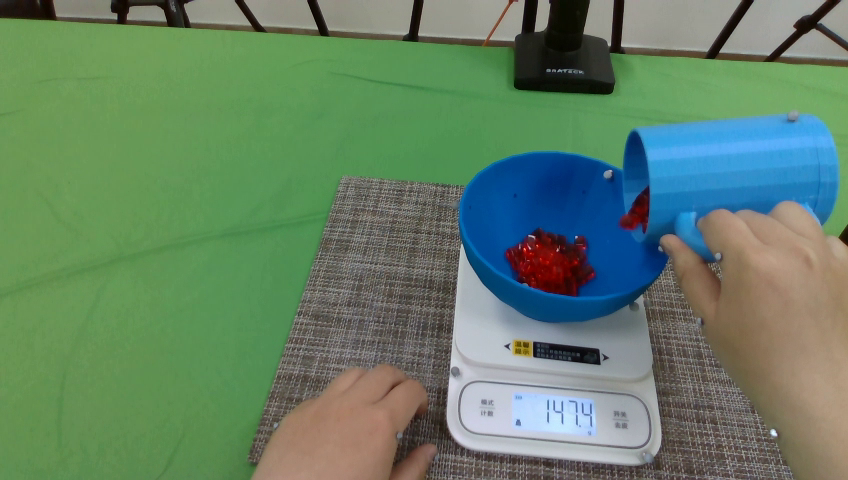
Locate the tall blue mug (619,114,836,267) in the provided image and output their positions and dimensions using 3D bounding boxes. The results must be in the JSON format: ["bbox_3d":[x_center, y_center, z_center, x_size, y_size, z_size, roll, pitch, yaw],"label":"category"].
[{"bbox_3d":[0.189,-0.034,0.379,0.108,0.078,0.107,-4,15,5],"label":"tall blue mug"}]

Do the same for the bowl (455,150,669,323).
[{"bbox_3d":[0.096,0.010,0.454,0.151,0.077,0.150,1,47,-1],"label":"bowl"}]

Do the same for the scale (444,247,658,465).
[{"bbox_3d":[0.096,0.069,0.471,0.148,0.032,0.199,5,47,4],"label":"scale"}]
